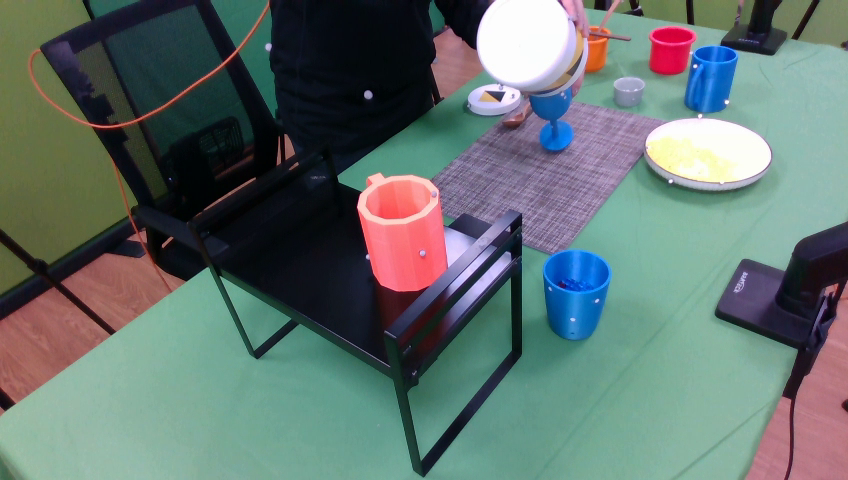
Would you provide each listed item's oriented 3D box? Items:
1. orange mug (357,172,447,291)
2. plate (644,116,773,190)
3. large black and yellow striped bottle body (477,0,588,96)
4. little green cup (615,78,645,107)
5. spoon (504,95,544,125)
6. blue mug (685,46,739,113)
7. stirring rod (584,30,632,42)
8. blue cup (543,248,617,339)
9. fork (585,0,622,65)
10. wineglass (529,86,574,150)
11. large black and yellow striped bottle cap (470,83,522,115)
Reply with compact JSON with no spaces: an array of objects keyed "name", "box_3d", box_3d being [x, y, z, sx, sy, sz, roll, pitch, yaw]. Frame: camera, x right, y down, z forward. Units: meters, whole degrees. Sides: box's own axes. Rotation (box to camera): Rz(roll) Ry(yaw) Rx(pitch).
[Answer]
[{"name":"orange mug","box_3d":[-0.030,-0.018,0.669,0.084,0.101,0.125,-23,47,-16]},{"name":"plate","box_3d":[0.495,-0.149,1.063,0.209,0.038,0.208,-5,40,4]},{"name":"large black and yellow striped bottle body","box_3d":[0.170,-0.286,0.904,0.130,0.131,0.185,14,13,24]},{"name":"little green cup","box_3d":[0.426,-0.306,1.257,0.061,0.039,0.061,-4,40,4]},{"name":"spoon","box_3d":[0.227,-0.285,1.269,0.041,0.022,0.194,2,36,45]},{"name":"blue mug","box_3d":[0.556,-0.310,1.190,0.117,0.106,0.081,-32,46,-25]},{"name":"stirring rod","box_3d":[0.381,-0.463,1.356,0.175,0.006,0.014,22,47,30]},{"name":"blue cup","box_3d":[0.199,0.076,0.797,0.092,0.100,0.092,-4,39,4]},{"name":"fork","box_3d":[0.409,-0.484,1.381,0.028,0.019,0.207,37,101,45]},{"name":"wineglass","box_3d":[0.230,-0.232,1.074,0.073,0.173,0.073,-6,67,15]},{"name":"large black and yellow striped bottle cap","box_3d":[0.156,-0.307,1.316,0.115,0.019,0.114,-7,39,6]}]
